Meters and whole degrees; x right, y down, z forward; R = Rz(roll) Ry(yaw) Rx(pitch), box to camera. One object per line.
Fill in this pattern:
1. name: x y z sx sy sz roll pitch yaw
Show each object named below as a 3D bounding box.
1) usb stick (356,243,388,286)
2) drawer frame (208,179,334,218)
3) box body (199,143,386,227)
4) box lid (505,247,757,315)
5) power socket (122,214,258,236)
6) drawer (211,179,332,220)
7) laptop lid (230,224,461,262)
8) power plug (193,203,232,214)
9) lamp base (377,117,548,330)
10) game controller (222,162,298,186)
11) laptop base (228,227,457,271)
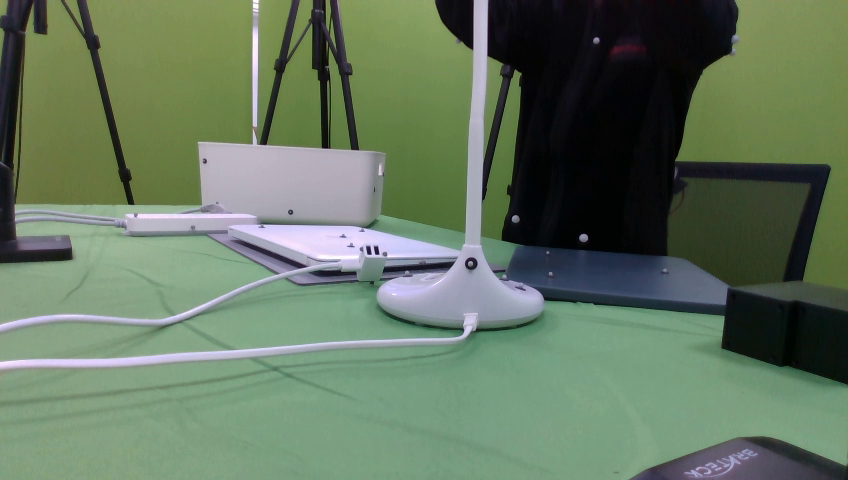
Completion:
1. usb stick: -0.058 0.029 0.658 0.027 0.059 0.021 -5 52 -18
2. drawer frame: -0.327 -0.093 1.328 0.213 0.082 0.202 0 5 6
3. box body: -0.276 -0.124 1.334 0.364 0.160 0.254 3 7 1
4. box lid: 0.244 0.044 0.793 0.263 0.015 0.372 4 7 11
5. power socket: -0.398 -0.028 1.049 0.228 0.032 0.072 -3 8 -34
6. drawer: -0.328 -0.095 1.332 0.212 0.073 0.194 5 8 6
7. laptop lid: -0.119 0.000 0.889 0.243 0.013 0.355 1 7 -33
8. power plug: -0.394 -0.042 1.139 0.072 0.052 0.035 -14 1 31
9. lamp base: 0.041 -0.020 0.550 0.161 0.180 0.179 1 11 -10
10. game controller: -0.357 -0.144 1.321 0.156 0.051 0.097 1 2 -16
11. laptop base: -0.122 0.011 0.889 0.237 0.023 0.352 2 6 -35
